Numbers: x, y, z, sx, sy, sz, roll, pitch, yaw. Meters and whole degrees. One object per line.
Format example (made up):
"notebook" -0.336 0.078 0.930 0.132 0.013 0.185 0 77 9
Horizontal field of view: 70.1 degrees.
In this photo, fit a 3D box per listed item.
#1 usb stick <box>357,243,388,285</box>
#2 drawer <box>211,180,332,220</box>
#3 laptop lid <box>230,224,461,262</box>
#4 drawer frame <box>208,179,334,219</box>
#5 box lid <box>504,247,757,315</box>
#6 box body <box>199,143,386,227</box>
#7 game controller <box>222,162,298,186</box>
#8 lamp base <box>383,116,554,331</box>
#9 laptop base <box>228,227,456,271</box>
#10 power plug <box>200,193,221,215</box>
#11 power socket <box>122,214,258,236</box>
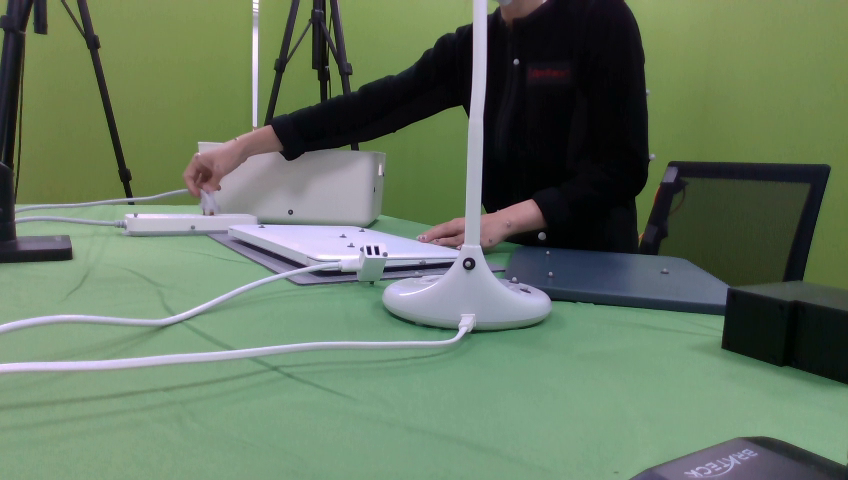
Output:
"usb stick" -0.058 0.029 0.658 0.027 0.059 0.021 -5 53 -18
"drawer" -0.328 -0.094 1.332 0.212 0.073 0.194 5 8 6
"laptop lid" -0.120 0.000 0.889 0.243 0.013 0.355 1 7 -33
"drawer frame" -0.326 -0.093 1.328 0.213 0.082 0.202 -1 5 6
"box lid" 0.244 0.044 0.793 0.263 0.015 0.372 4 7 10
"box body" -0.276 -0.124 1.335 0.364 0.160 0.254 3 7 1
"game controller" -0.357 -0.143 1.322 0.156 0.051 0.097 1 2 -16
"lamp base" 0.045 -0.019 0.547 0.161 0.180 0.179 2 10 -4
"laptop base" -0.122 0.011 0.889 0.237 0.023 0.352 2 6 -35
"power plug" -0.385 -0.057 1.090 0.035 0.052 0.072 4 6 -21
"power socket" -0.398 -0.028 1.049 0.228 0.032 0.072 -3 8 -34
